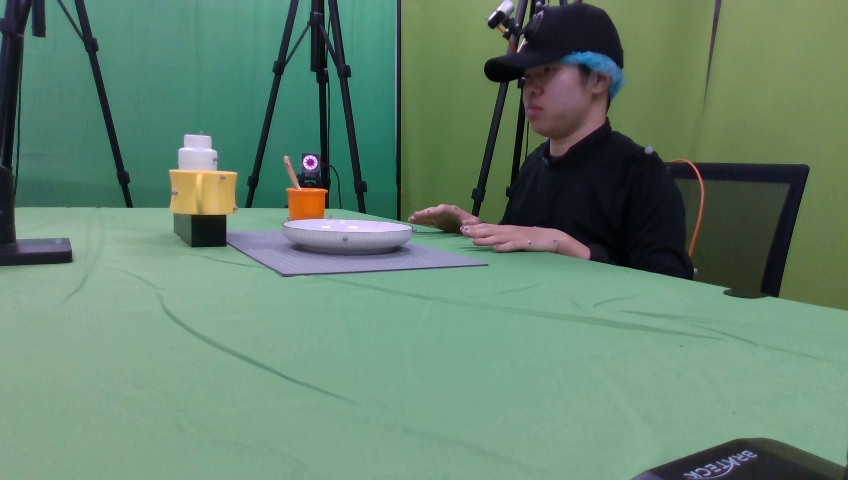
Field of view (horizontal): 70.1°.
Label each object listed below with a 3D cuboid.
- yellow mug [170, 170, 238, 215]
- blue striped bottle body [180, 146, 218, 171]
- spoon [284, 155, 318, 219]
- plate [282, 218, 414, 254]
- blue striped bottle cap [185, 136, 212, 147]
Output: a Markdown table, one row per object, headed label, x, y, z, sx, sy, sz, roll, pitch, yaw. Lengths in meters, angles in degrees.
| label | x | y | z | sx | sy | sz | roll | pitch | yaw |
| --- | --- | --- | --- | --- | --- | --- | --- | --- | --- |
| yellow mug | -0.342 | -0.074 | 0.939 | 0.100 | 0.064 | 0.130 | 0 | 8 | -16 |
| blue striped bottle body | -0.392 | -0.118 | 1.053 | 0.063 | 0.120 | 0.063 | 3 | 7 | 0 |
| spoon | -0.286 | -0.122 | 1.367 | 0.042 | 0.021 | 0.193 | -6 | 50 | -36 |
| plate | -0.121 | -0.007 | 0.971 | 0.208 | 0.039 | 0.207 | 2 | 7 | 0 |
| blue striped bottle cap | -0.390 | -0.169 | 1.047 | 0.044 | 0.020 | 0.044 | 4 | 9 | 0 |
